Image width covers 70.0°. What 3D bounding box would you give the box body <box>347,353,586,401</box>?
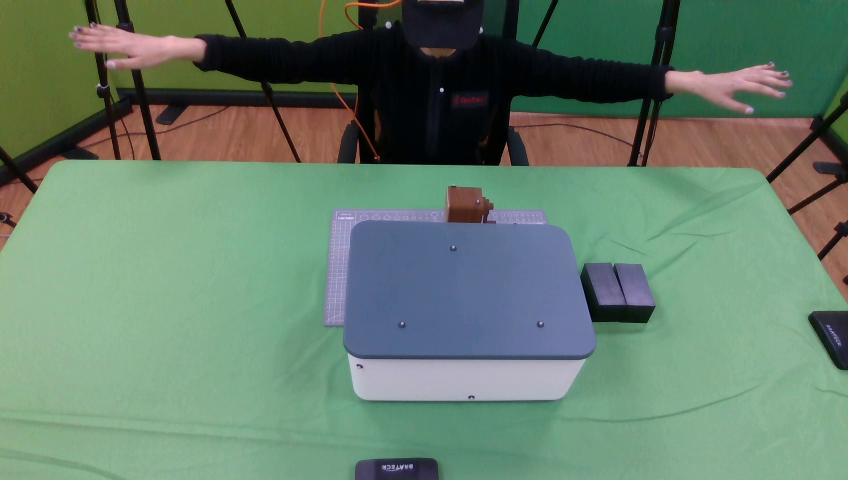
[{"bbox_3d":[0.060,0.120,0.988,0.364,0.161,0.252,1,47,-4],"label":"box body"}]

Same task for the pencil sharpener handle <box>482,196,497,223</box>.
[{"bbox_3d":[0.130,-0.056,1.182,0.031,0.068,0.036,2,43,-3],"label":"pencil sharpener handle"}]

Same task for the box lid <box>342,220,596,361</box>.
[{"bbox_3d":[0.066,0.070,0.934,0.372,0.015,0.261,1,48,-4],"label":"box lid"}]

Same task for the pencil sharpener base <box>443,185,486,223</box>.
[{"bbox_3d":[0.078,-0.049,1.188,0.077,0.107,0.061,2,46,-3],"label":"pencil sharpener base"}]
